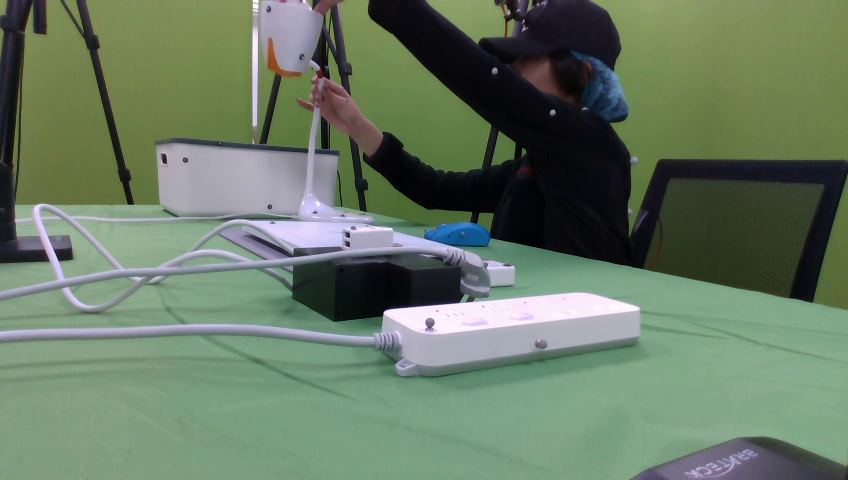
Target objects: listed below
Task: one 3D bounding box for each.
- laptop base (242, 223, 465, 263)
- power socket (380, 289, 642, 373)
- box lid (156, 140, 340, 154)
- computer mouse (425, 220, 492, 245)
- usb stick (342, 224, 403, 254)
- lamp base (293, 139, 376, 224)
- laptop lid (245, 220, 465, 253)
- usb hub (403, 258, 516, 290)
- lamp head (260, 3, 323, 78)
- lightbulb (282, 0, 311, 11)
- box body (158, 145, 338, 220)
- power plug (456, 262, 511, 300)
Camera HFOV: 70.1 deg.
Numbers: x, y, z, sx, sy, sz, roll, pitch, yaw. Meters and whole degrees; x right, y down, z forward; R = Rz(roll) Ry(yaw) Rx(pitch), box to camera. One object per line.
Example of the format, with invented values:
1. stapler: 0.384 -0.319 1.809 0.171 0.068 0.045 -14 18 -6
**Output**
1. laptop base: -0.126 0.003 0.946 0.237 0.023 0.352 2 6 -31
2. power socket: 0.072 0.064 0.461 0.228 0.032 0.072 -2 8 -30
3. box lid: -0.409 -0.212 1.404 0.373 0.015 0.262 -2 8 -32
4. computer mouse: 0.060 -0.013 1.060 0.117 0.041 0.062 -2 9 -6
5. usb stick: -0.047 -0.001 0.567 0.059 0.027 0.021 0 5 -32
6. lamp base: -0.191 -0.121 1.257 0.179 0.180 0.161 0 6 7
7. laptop lid: -0.124 -0.009 0.945 0.243 0.013 0.355 1 7 -29
8. usb hub: 0.042 0.038 0.690 0.126 0.025 0.049 -2 9 -30
9. lamp head: -0.245 -0.360 1.106 0.112 0.123 0.112 7 16 -2
10. lightbulb: -0.239 -0.382 1.094 0.059 0.107 0.059 16 11 -3
11. box body: -0.410 -0.139 1.414 0.366 0.160 0.253 -3 8 -33
12. power plug: 0.052 0.050 0.543 0.035 0.052 0.072 6 38 -20
